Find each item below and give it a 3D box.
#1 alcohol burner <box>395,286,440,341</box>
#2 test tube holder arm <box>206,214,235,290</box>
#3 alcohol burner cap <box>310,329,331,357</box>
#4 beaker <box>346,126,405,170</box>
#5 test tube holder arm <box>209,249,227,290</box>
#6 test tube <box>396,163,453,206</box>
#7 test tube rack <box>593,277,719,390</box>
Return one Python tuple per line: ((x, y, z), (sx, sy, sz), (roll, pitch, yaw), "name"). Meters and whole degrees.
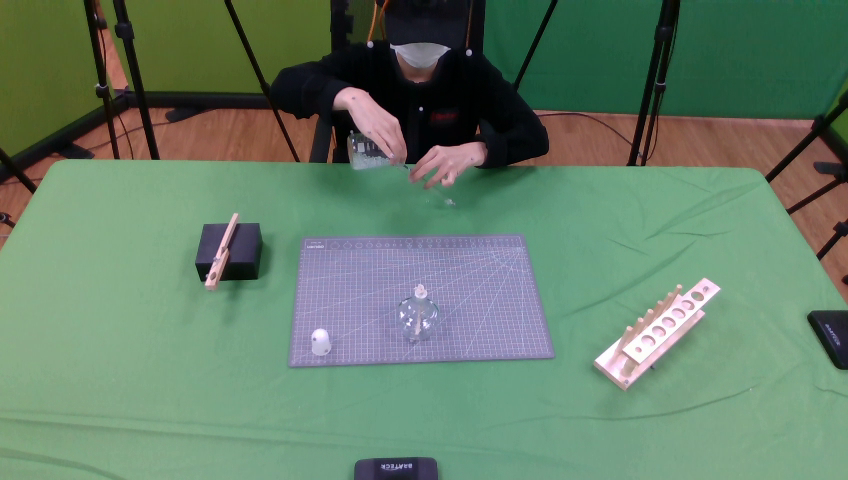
((-0.010, 0.116, 1.018), (0.078, 0.119, 0.077), (3, 47, -3), "alcohol burner")
((-0.364, 0.017, 1.090), (0.013, 0.015, 0.177), (7, 45, -8), "test tube holder arm")
((-0.173, 0.168, 1.005), (0.034, 0.048, 0.033), (2, 46, -2), "alcohol burner cap")
((-0.094, -0.170, 1.151), (0.100, 0.084, 0.073), (-8, 35, -13), "beaker")
((-0.359, 0.050, 1.059), (0.010, 0.015, 0.087), (8, 45, -7), "test tube holder arm")
((0.004, -0.110, 1.221), (0.151, 0.017, 0.017), (33, 36, -31), "test tube")
((0.401, 0.148, 1.043), (0.242, 0.085, 0.066), (-30, 55, -29), "test tube rack")
